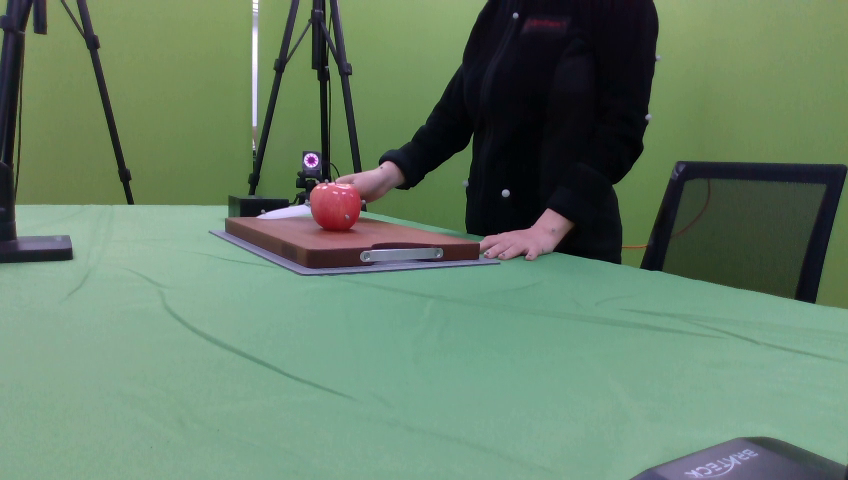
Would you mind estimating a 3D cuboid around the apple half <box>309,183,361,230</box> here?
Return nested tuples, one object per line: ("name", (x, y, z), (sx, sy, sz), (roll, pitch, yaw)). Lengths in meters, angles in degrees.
("apple half", (-0.135, -0.052, 0.945), (0.081, 0.074, 0.053), (3, 11, -29))

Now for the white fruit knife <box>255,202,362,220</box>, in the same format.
("white fruit knife", (-0.208, -0.060, 1.101), (0.208, 0.016, 0.027), (-14, 61, -35))

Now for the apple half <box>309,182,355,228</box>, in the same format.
("apple half", (-0.153, -0.058, 0.978), (0.082, 0.081, 0.032), (-2, 11, -28))
